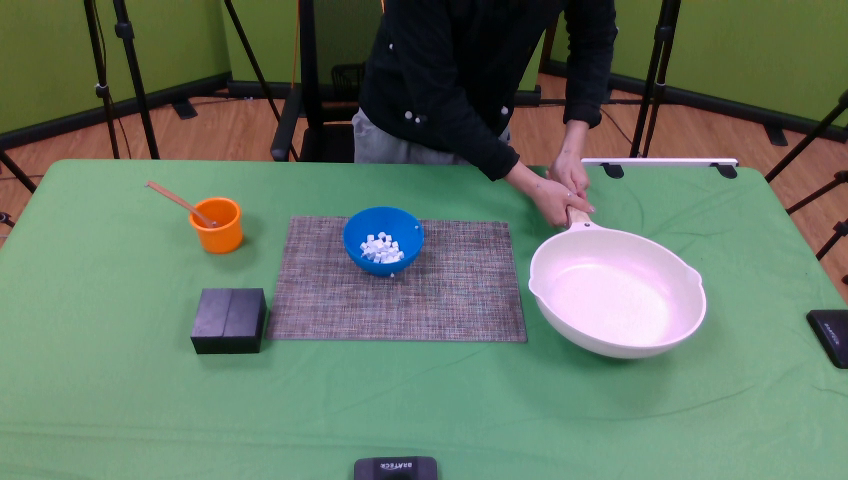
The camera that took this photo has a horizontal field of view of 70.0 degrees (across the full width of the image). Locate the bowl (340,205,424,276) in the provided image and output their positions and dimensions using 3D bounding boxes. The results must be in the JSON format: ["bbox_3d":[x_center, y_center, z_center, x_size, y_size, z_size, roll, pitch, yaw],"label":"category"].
[{"bbox_3d":[-0.079,0.014,1.133,0.151,0.077,0.150,2,46,-2],"label":"bowl"}]

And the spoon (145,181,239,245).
[{"bbox_3d":[-0.429,-0.052,1.126,0.021,0.195,0.041,-27,34,33],"label":"spoon"}]

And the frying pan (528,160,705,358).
[{"bbox_3d":[0.311,0.015,1.118,0.307,0.103,0.484,-3,49,-8],"label":"frying pan"}]
